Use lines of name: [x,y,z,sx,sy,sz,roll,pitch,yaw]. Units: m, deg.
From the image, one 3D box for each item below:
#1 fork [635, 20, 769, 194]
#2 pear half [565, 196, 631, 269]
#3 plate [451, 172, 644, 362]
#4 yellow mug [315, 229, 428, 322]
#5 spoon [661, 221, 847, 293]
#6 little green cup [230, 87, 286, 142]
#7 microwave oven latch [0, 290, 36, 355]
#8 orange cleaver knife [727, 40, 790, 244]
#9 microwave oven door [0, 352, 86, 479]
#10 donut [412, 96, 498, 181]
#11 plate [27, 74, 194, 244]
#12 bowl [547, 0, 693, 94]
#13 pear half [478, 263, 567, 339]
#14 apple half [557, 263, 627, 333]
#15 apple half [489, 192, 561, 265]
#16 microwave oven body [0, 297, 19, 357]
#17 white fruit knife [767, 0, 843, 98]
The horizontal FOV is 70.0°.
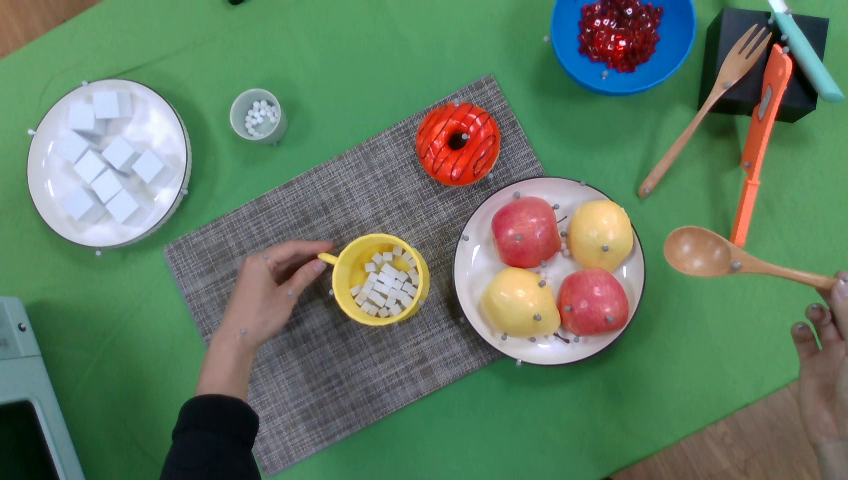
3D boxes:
fork: [0.292,-0.136,0.651,0.028,0.018,0.208,31,109,0]
pear half: [0.186,-0.003,0.657,0.070,0.031,0.088,3,96,29]
plate: [0.135,0.030,0.674,0.209,0.038,0.208,-1,85,6]
yellow mug: [-0.063,0.036,0.680,0.130,0.064,0.100,21,88,9]
spoon: [0.288,0.024,0.479,0.192,0.022,0.041,16,86,21]
little green cup: [-0.197,-0.148,0.727,0.061,0.039,0.061,-1,85,7]
microwave oven latch: [-0.492,0.099,0.718,0.030,0.029,0.079,-23,84,3]
orange cleaver knife: [0.350,-0.101,0.644,0.012,0.077,0.212,9,112,12]
microwave oven door: [-0.416,0.288,0.592,0.039,0.244,0.354,-25,83,3]
donut: [0.036,-0.115,0.693,0.099,0.048,0.099,-1,87,8]
plate: [-0.378,-0.096,0.742,0.207,0.039,0.207,-1,85,6]
bowl: [0.209,-0.226,0.672,0.151,0.077,0.151,0,86,6]
pear half: [0.114,0.074,0.658,0.110,0.056,0.076,35,94,1]
apple half: [0.174,0.064,0.650,0.081,0.033,0.081,1,94,28]
apple half: [0.110,-0.013,0.663,0.074,0.053,0.080,-10,87,5]
microwave oven body: [-0.565,0.311,0.611,0.326,0.261,0.440,-25,84,3]
white fruit knife: [0.377,-0.237,0.637,0.027,0.016,0.206,-22,80,-25]
